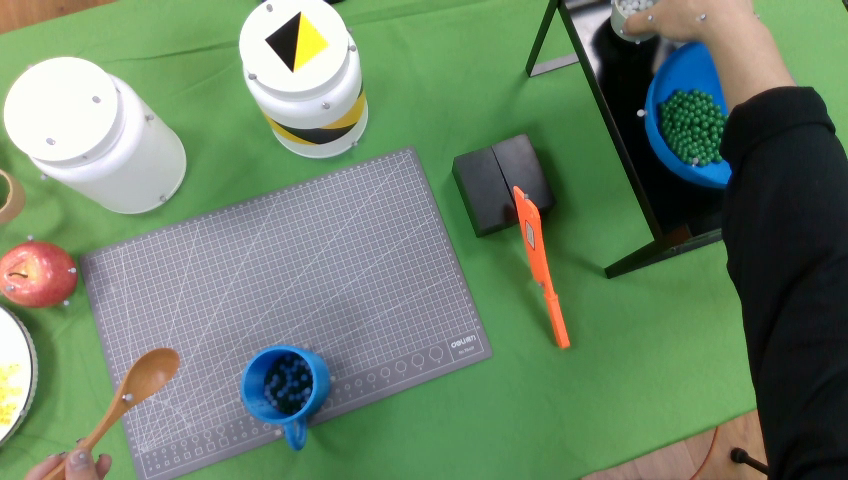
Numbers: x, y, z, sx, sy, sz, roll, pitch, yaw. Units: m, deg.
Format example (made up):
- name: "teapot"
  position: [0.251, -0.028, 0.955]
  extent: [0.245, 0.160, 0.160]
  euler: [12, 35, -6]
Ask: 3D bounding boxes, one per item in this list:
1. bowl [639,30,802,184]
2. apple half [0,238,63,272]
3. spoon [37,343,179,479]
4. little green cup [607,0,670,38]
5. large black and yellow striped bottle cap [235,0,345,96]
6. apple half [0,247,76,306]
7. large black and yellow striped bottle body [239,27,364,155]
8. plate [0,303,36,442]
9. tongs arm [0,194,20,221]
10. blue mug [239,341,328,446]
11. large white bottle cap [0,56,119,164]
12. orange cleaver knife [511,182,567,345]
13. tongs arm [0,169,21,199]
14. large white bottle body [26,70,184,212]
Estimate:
- name: "bowl"
  position: [0.279, -0.119, 0.602]
  extent: [0.151, 0.077, 0.150]
  euler: [0, 79, -1]
- name: "apple half"
  position: [-0.481, 0.019, 0.732]
  extent: [0.081, 0.081, 0.033]
  euler: [-34, 86, -8]
- name: "spoon"
  position: [-0.267, 0.154, 0.482]
  extent: [0.021, 0.042, 0.192]
  euler: [9, 39, 20]
- name: "little green cup"
  position: [0.222, -0.245, 0.635]
  extent: [0.061, 0.039, 0.061]
  euler: [-1, 75, 3]
- name: "large black and yellow striped bottle cap"
  position: [-0.143, -0.211, 0.648]
  extent: [0.115, 0.019, 0.114]
  euler: [1, 80, -3]
- name: "apple half"
  position: [-0.458, 0.051, 0.728]
  extent: [0.081, 0.075, 0.053]
  euler: [-34, 85, -11]
- name: "large black and yellow striped bottle body"
  position: [-0.144, -0.191, 0.730]
  extent: [0.131, 0.184, 0.130]
  euler: [0, 78, -1]
- name: "plate"
  position: [-0.564, 0.163, 0.719]
  extent: [0.209, 0.038, 0.208]
  euler: [0, 79, -2]
- name: "tongs arm"
  position: [-0.685, -0.056, 0.725]
  extent: [0.385, 0.026, 0.050]
  euler: [8, 75, 2]
- name: "blue mug"
  position: [-0.155, 0.176, 0.694]
  extent: [0.082, 0.106, 0.116]
  euler: [-11, 79, -4]
- name: "large white bottle cap"
  position: [-0.375, -0.134, 0.623]
  extent: [0.115, 0.018, 0.114]
  euler: [0, 79, -1]
- name: "orange cleaver knife"
  position: [0.140, 0.030, 0.746]
  extent: [0.012, 0.076, 0.213]
  euler: [-20, 111, -6]
- name: "tongs arm"
  position: [-0.665, -0.135, 0.743]
  extent: [0.387, 0.028, 0.028]
  euler: [22, 72, 5]
- name: "large white bottle body"
  position: [-0.376, -0.117, 0.707]
  extent: [0.131, 0.185, 0.130]
  euler: [0, 78, -1]
